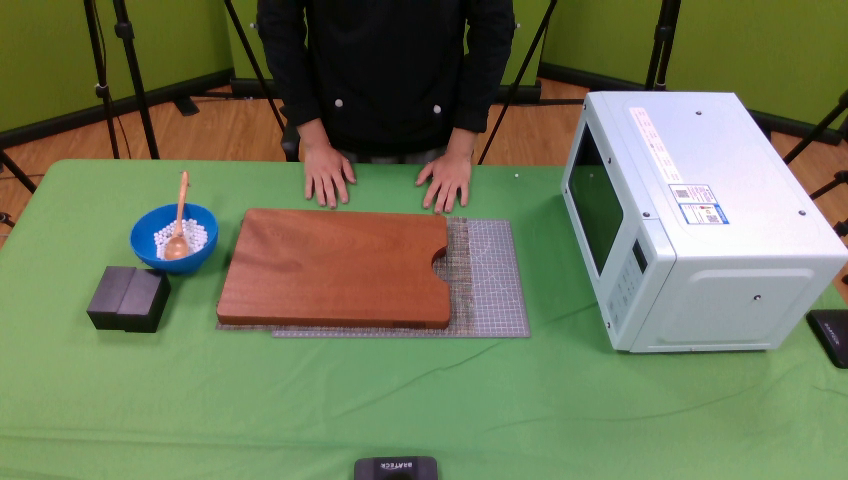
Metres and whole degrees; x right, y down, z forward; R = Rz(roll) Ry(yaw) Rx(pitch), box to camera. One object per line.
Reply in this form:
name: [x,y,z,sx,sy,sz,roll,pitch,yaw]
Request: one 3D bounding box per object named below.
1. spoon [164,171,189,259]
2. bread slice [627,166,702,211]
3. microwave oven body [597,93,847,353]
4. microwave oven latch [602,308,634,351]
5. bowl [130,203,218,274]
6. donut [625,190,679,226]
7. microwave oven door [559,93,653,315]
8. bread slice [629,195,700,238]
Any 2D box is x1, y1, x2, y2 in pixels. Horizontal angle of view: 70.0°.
spoon: [-0.452,-0.046,1.129,0.041,0.022,0.193,-1,69,-2]
bread slice: [0.456,-0.096,1.141,0.135,0.018,0.106,5,43,-18]
microwave oven body: [0.475,-0.041,1.110,0.326,0.261,0.438,-1,45,-4]
microwave oven latch: [0.332,0.153,1.044,0.030,0.029,0.078,-1,45,-4]
bowl: [-0.450,0.010,1.116,0.151,0.077,0.150,3,45,-2]
donut: [0.441,-0.062,1.172,0.099,0.048,0.098,-6,30,4]
microwave oven door: [0.327,-0.074,1.123,0.039,0.245,0.353,-1,46,-5]
bread slice: [0.473,-0.047,1.194,0.131,0.019,0.104,9,42,11]
